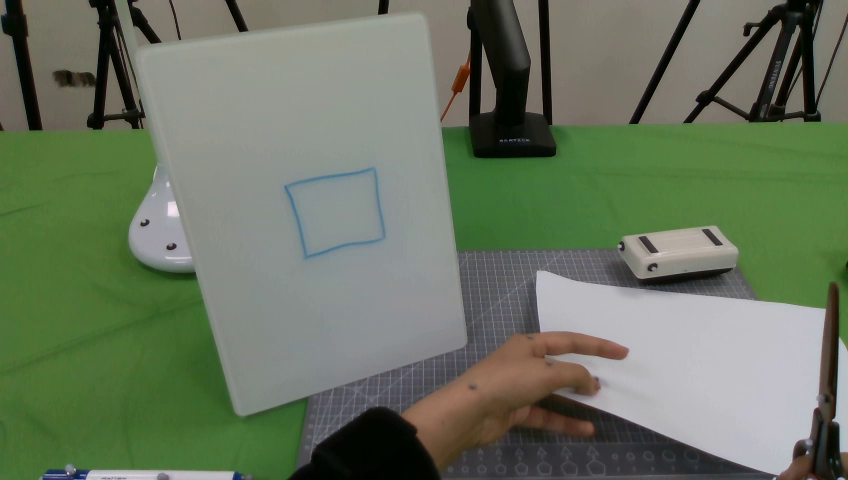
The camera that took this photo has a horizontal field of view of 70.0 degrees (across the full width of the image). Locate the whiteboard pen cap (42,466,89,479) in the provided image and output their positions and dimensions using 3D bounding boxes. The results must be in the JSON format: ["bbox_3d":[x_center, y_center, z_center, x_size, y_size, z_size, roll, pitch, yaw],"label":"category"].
[{"bbox_3d":[-0.266,0.178,0.456,0.033,0.018,0.018,0,37,-4],"label":"whiteboard pen cap"}]

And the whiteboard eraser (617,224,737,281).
[{"bbox_3d":[0.273,0.014,0.658,0.113,0.042,0.055,-6,39,-8],"label":"whiteboard eraser"}]

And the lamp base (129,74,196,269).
[{"bbox_3d":[-0.273,-0.085,0.678,0.177,0.182,0.160,26,44,33],"label":"lamp base"}]

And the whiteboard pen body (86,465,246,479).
[{"bbox_3d":[-0.207,0.179,0.458,0.141,0.017,0.017,1,37,-2],"label":"whiteboard pen body"}]

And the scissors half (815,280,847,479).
[{"bbox_3d":[0.247,0.111,0.368,0.013,0.175,0.040,-4,3,14],"label":"scissors half"}]

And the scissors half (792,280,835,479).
[{"bbox_3d":[0.251,0.107,0.387,0.013,0.176,0.040,-4,20,9],"label":"scissors half"}]

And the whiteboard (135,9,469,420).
[{"bbox_3d":[-0.100,-0.033,0.555,0.218,0.307,0.142,-14,20,-16],"label":"whiteboard"}]
